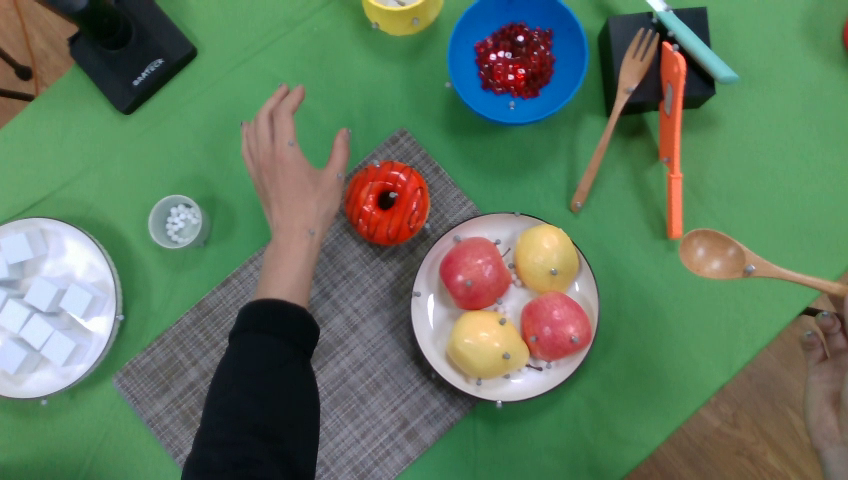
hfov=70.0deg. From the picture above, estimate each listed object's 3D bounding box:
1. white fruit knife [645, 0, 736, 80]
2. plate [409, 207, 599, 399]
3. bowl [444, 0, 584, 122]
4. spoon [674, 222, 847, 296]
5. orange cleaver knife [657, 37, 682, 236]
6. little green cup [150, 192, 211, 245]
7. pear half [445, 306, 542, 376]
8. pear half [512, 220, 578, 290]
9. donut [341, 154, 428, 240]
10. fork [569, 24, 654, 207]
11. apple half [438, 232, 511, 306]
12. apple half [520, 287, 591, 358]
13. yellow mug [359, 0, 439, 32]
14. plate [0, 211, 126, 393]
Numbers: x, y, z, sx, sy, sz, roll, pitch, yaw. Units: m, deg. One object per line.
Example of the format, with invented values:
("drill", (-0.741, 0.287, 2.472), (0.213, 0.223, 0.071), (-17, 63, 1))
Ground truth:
("white fruit knife", (0.260, -0.250, 0.660), (0.027, 0.016, 0.206), (-36, 81, -30))
("plate", (0.088, 0.068, 0.675), (0.209, 0.038, 0.208), (0, 85, 2))
("bowl", (0.097, -0.198, 0.682), (0.151, 0.077, 0.151), (0, 85, 2))
("spoon", (0.300, 0.029, 0.483), (0.192, 0.022, 0.041), (19, 86, 20))
("orange cleaver knife", (0.267, -0.111, 0.664), (0.012, 0.077, 0.212), (-6, 110, 7))
("little green cup", (-0.280, -0.023, 0.704), (0.061, 0.039, 0.061), (0, 85, 4))
("pear half", (0.081, 0.116, 0.657), (0.110, 0.056, 0.076), (21, 91, 0))
("pear half", (0.130, 0.023, 0.662), (0.070, 0.031, 0.088), (-12, 95, 25))
("donut", (-0.045, -0.048, 0.688), (0.099, 0.048, 0.099), (0, 88, 4))
("fork", (0.201, -0.131, 0.666), (0.028, 0.018, 0.208), (17, 106, -4))
("apple half", (0.054, 0.032, 0.662), (0.074, 0.053, 0.080), (-24, 88, 1))
("apple half", (0.136, 0.091, 0.653), (0.081, 0.033, 0.081), (3, 99, 22))
("yellow mug", (-0.047, -0.307, 0.704), (0.130, 0.064, 0.100), (16, 86, 5))
("plate", (-0.444, 0.071, 0.704), (0.207, 0.039, 0.207), (0, 85, 3))
